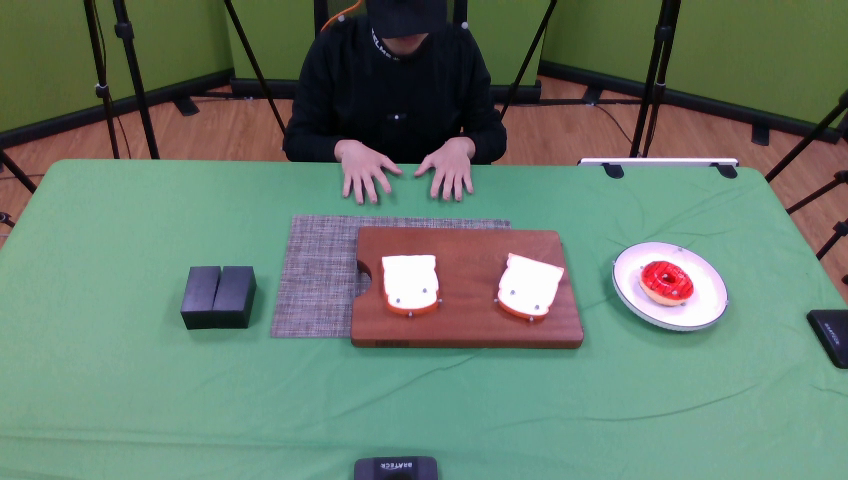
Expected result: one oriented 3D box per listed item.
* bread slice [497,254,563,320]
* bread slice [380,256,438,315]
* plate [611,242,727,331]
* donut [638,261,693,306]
[{"bbox_3d":[0.189,0.087,1.095,0.107,0.018,0.134,15,45,10],"label":"bread slice"},{"bbox_3d":[-0.024,0.079,1.087,0.105,0.019,0.130,-3,45,-5],"label":"bread slice"},{"bbox_3d":[0.455,0.090,1.138,0.209,0.038,0.208,3,45,-2],"label":"plate"},{"bbox_3d":[0.451,0.081,1.131,0.099,0.048,0.098,4,44,-3],"label":"donut"}]
